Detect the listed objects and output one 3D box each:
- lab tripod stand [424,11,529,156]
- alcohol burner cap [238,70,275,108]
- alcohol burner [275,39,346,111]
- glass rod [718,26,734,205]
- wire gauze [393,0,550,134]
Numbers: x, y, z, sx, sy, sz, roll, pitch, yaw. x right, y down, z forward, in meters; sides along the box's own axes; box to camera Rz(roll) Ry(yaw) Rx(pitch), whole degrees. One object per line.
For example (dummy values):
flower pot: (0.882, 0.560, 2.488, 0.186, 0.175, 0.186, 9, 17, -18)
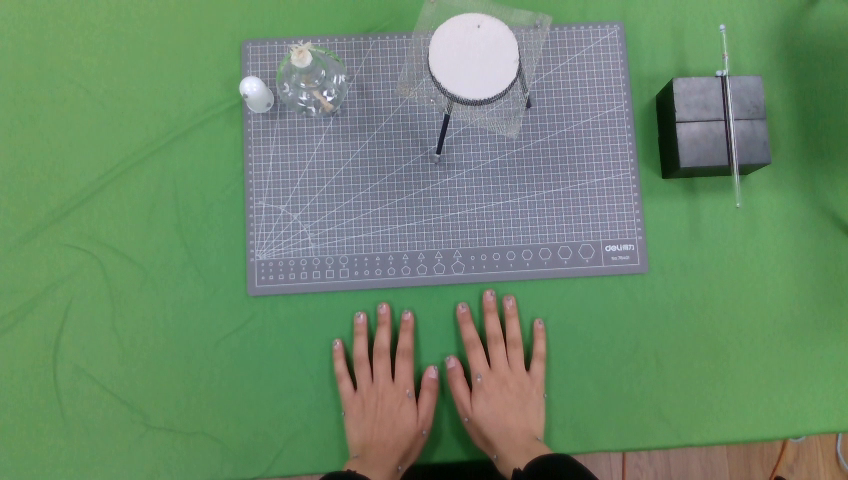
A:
lab tripod stand: (0.049, -0.169, 0.638, 0.148, 0.132, 0.148, 0, 81, -1)
alcohol burner cap: (-0.190, -0.171, 0.680, 0.034, 0.048, 0.034, 0, 82, 3)
alcohol burner: (-0.123, -0.182, 0.647, 0.078, 0.119, 0.077, 0, 82, -2)
glass rod: (0.326, -0.136, 0.655, 0.008, 0.008, 0.199, 0, 84, 0)
wire gauze: (0.046, -0.175, 0.571, 0.125, 0.011, 0.121, 19, 83, 1)
